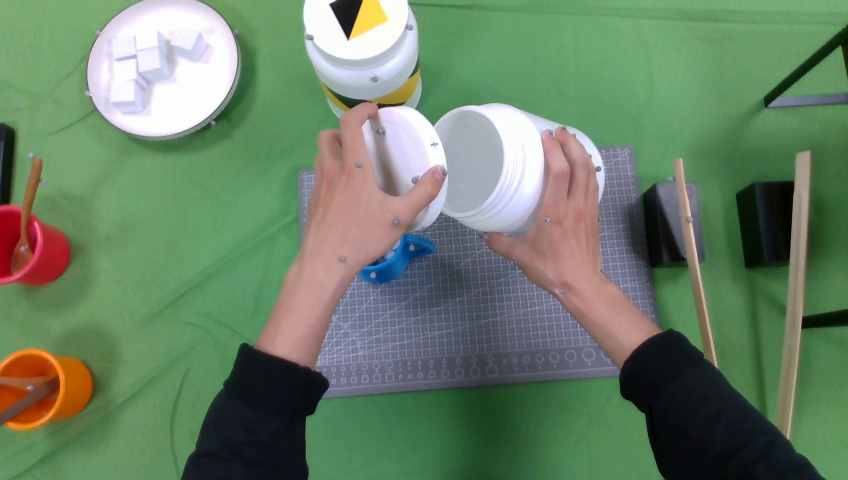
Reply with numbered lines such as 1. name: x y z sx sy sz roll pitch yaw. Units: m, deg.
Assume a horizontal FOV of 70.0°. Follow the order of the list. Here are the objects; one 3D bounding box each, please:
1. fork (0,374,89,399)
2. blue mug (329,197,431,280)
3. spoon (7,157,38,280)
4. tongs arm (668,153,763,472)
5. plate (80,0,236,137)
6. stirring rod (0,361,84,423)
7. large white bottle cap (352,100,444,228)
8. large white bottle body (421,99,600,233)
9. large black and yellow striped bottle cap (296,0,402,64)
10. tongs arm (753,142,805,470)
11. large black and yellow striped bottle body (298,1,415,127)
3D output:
1. fork: -0.500 0.158 0.698 0.209 0.018 0.028 23 74 -38
2. blue mug: -0.049 0.002 0.738 0.116 0.106 0.082 2 79 2
3. spoon: -0.486 -0.022 0.735 0.041 0.021 0.194 41 126 11
4. tongs arm: 0.343 0.084 0.716 0.051 0.026 0.384 -9 91 -3
5. plate: -0.357 -0.235 0.827 0.207 0.039 0.206 0 79 1
6. stirring rod: -0.474 0.194 0.696 0.014 0.006 0.176 42 40 6
7. large white bottle cap: -0.026 -0.067 0.547 0.018 0.115 0.114 -16 76 -39
8. large white bottle body: 0.092 -0.076 0.648 0.130 0.186 0.130 -2 87 40
9. large black and yellow striped bottle cap: -0.082 -0.249 0.664 0.115 0.019 0.114 0 80 0
10. tongs arm: 0.425 0.078 0.717 0.028 0.027 0.387 4 91 -6
11. large black and yellow striped bottle body: -0.079 -0.230 0.746 0.131 0.184 0.130 0 78 1
